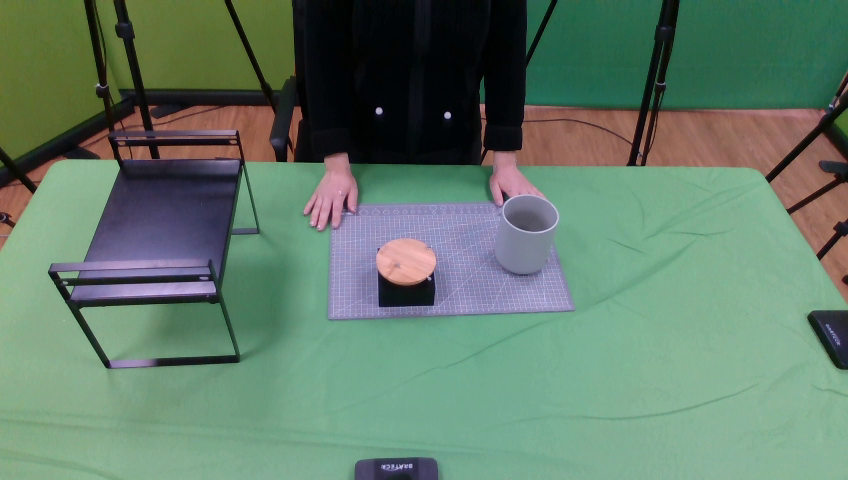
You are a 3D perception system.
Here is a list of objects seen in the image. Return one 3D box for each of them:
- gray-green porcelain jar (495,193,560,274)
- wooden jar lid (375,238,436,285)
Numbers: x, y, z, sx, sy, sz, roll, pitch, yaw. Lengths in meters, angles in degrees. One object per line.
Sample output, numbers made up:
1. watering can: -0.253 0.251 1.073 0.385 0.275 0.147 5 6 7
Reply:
1. gray-green porcelain jar: 0.191 -0.007 1.141 0.106 0.127 0.105 2 46 -2
2. wooden jar lid: -0.033 0.040 1.084 0.108 0.021 0.107 3 46 -3
